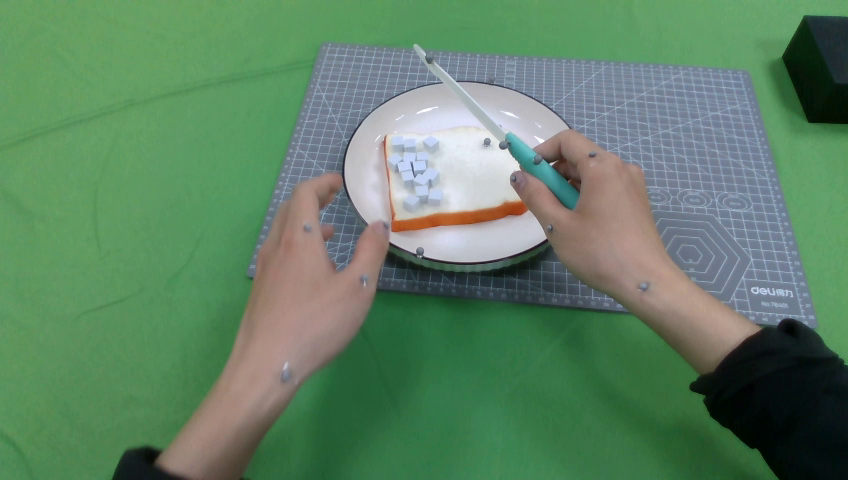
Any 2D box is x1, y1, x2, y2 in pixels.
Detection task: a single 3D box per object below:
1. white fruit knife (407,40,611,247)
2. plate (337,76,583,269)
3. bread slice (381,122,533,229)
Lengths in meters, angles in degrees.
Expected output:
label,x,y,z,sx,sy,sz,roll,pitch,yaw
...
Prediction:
label,x,y,z,sx,sy,sz,roll,pitch,yaw
white fruit knife,0.061,-0.071,0.440,0.207,0.027,0.016,44,81,0
plate,0.030,-0.059,0.526,0.209,0.038,0.207,0,56,0
bread slice,0.029,-0.063,0.532,0.131,0.019,0.104,-8,57,-3
